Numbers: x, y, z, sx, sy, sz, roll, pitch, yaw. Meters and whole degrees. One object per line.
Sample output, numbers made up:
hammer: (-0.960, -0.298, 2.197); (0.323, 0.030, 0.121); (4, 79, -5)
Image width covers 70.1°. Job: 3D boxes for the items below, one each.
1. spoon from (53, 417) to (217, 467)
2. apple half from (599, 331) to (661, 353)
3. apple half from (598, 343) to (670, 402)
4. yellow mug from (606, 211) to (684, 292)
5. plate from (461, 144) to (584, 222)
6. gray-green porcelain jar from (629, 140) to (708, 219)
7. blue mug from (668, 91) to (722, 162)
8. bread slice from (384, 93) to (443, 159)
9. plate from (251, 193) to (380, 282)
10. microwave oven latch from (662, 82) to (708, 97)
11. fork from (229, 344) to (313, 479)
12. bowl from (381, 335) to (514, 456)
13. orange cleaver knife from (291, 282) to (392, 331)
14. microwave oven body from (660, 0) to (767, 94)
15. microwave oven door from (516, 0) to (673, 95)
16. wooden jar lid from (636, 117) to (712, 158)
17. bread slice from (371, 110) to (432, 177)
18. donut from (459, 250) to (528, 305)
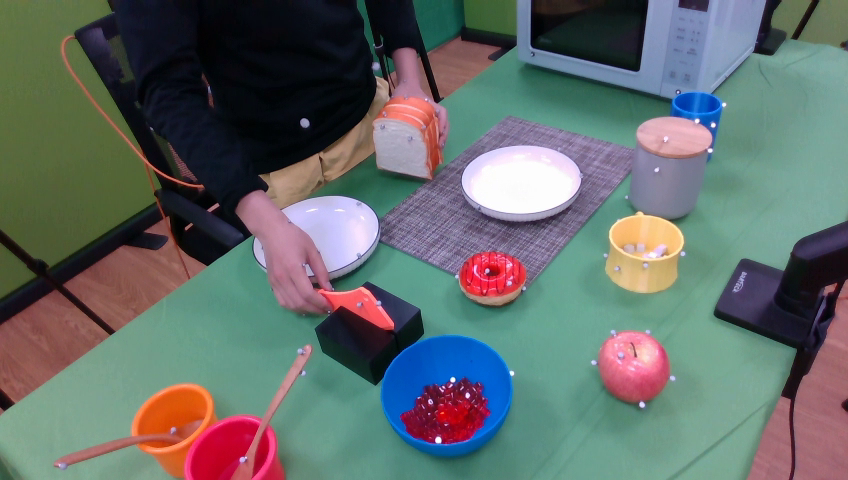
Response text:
spoon: (-0.308, 0.219, 0.663); (0.041, 0.195, 0.021); (24, 94, 29)
apple half: (0.249, 0.134, 0.738); (0.081, 0.081, 0.032); (-1, 46, 7)
apple half: (0.247, 0.161, 0.710); (0.081, 0.075, 0.053); (2, 47, 5)
yellow mug: (0.318, 0.008, 0.883); (0.100, 0.064, 0.130); (0, 41, 9)
plate: (0.167, -0.095, 1.040); (0.207, 0.039, 0.206); (-4, 40, 4)
gray-green porcelain jar: (0.383, -0.105, 0.958); (0.106, 0.127, 0.105); (-4, 41, 4)
blue mug: (0.475, -0.207, 1.079); (0.082, 0.106, 0.116); (4, 42, 13)
bread slice: (-0.019, -0.203, 1.082); (0.104, 0.132, 0.019); (9, 50, 14)
plate: (-0.173, -0.001, 0.984); (0.209, 0.038, 0.208); (-3, 40, 3)
microwave oven latch: (0.517, -0.298, 1.203); (0.078, 0.029, 0.030); (28, 53, 35)
fork: (-0.173, 0.205, 0.662); (0.028, 0.019, 0.207); (29, 94, 36)
bowl: (0.029, 0.192, 0.701); (0.151, 0.077, 0.150); (-4, 40, 4)
orange cleaver knife: (-0.118, 0.090, 0.835); (0.209, 0.077, 0.012); (1, 33, 49)
microwave oven body: (0.473, -0.517, 1.314); (0.438, 0.261, 0.327); (26, 51, 34)
microwave oven door: (0.344, -0.458, 1.256); (0.353, 0.245, 0.039); (26, 51, 33)
wooden jar lid: (0.377, -0.151, 0.917); (0.108, 0.021, 0.108); (-2, 42, 2)
bread slice: (-0.042, -0.168, 1.047); (0.106, 0.135, 0.018); (10, 56, 15)
donut: (0.100, 0.053, 0.872); (0.099, 0.048, 0.098); (-5, 41, 5)
